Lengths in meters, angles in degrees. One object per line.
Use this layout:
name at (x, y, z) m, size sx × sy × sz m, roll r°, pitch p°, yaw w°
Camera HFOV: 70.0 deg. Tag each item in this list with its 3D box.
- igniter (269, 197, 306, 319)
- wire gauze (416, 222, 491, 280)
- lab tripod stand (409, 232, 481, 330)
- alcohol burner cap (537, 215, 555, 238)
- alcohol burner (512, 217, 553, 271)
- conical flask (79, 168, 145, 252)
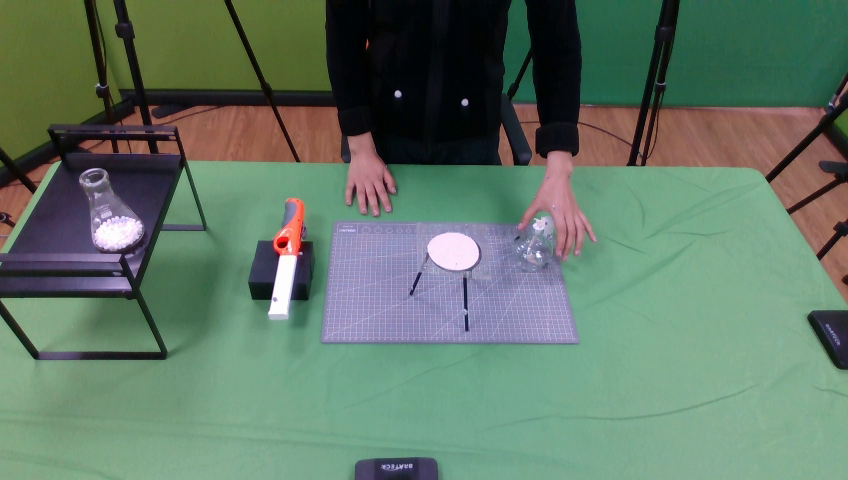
igniter at (-0.246, 0.023, 1.087) m, size 0.057 × 0.025 × 0.274 m, roll -1°, pitch 49°, yaw -2°
wire gauze at (0.048, 0.014, 1.013) m, size 0.125 × 0.011 × 0.120 m, roll 3°, pitch 47°, yaw -3°
lab tripod stand at (0.051, 0.064, 1.059) m, size 0.148 × 0.132 × 0.147 m, roll 3°, pitch 47°, yaw -3°
alcohol burner cap at (0.249, -0.029, 1.228) m, size 0.034 × 0.048 × 0.033 m, roll 2°, pitch 49°, yaw -2°
alcohol burner at (0.208, 0.002, 1.144) m, size 0.078 × 0.119 × 0.077 m, roll 2°, pitch 44°, yaw -2°
conical flask at (-0.463, -0.048, 0.888) m, size 0.075 × 0.122 × 0.075 m, roll 2°, pitch 46°, yaw -2°
